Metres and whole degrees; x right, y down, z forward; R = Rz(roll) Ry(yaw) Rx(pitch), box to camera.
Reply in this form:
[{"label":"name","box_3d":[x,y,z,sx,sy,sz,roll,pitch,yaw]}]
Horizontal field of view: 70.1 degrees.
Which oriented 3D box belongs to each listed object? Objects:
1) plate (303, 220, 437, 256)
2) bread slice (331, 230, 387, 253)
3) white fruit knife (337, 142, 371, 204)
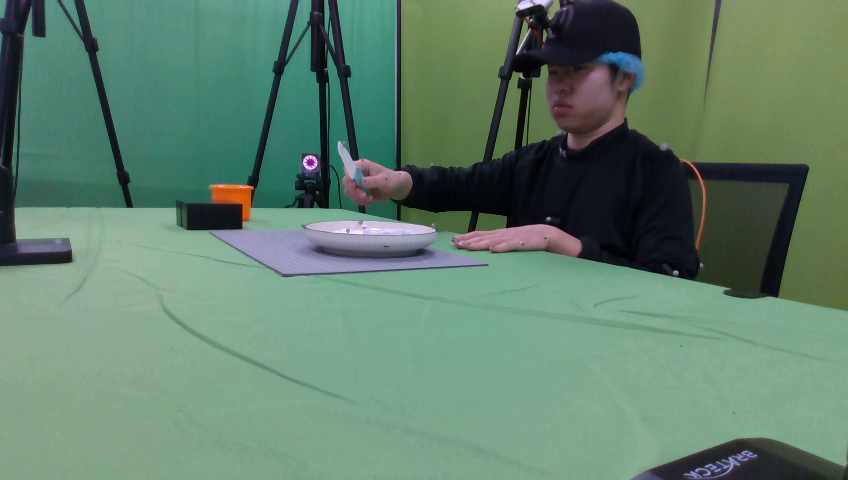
[{"label":"plate","box_3d":[-0.084,-0.003,0.951,0.209,0.038,0.209,3,7,0]},{"label":"bread slice","box_3d":[-0.088,0.000,0.947,0.105,0.019,0.131,-4,11,-45]},{"label":"white fruit knife","box_3d":[-0.118,-0.114,1.025,0.016,0.027,0.208,15,-17,12]}]
